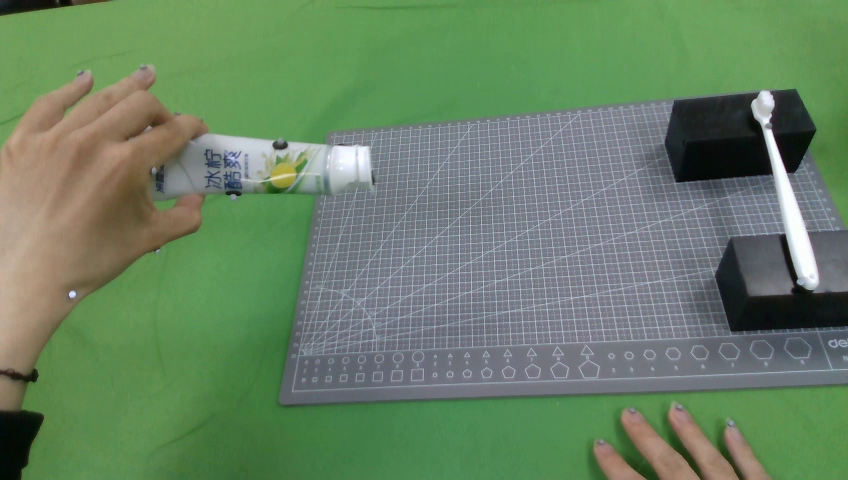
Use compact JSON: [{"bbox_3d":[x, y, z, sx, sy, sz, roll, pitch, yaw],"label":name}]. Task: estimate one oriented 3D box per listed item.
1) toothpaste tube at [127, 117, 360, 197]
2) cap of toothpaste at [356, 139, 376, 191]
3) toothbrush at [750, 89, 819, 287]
[{"bbox_3d":[-0.121,-0.055,0.419,0.165,0.034,0.055,1,98,0],"label":"toothpaste tube"},{"bbox_3d":[-0.040,-0.052,0.419,0.011,0.038,0.037,-9,53,-2],"label":"cap of toothpaste"},{"bbox_3d":[0.265,-0.045,0.447,0.014,0.017,0.180,7,57,0],"label":"toothbrush"}]
